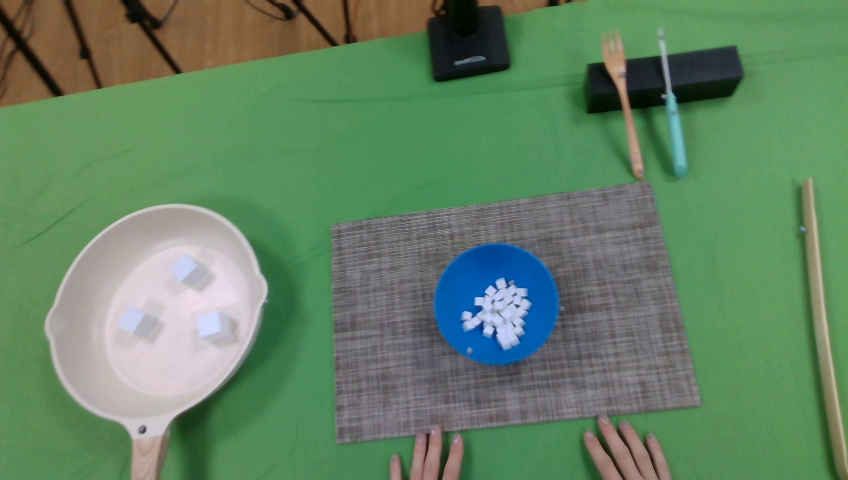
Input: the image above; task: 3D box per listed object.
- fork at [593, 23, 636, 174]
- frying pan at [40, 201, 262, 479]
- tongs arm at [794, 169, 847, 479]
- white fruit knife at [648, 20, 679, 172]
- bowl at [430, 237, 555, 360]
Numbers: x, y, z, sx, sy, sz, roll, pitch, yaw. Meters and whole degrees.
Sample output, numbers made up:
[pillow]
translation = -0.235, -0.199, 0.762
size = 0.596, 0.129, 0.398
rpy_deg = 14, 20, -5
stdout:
[fork]
translation = 0.263, -0.192, 0.827
size = 0.028, 0.018, 0.207
rpy_deg = -14, 90, -1
[frying pan]
translation = -0.347, 0.183, 0.773
size = 0.306, 0.103, 0.483
rpy_deg = -9, 62, 6
[tongs arm]
translation = 0.480, 0.094, 0.731
size = 0.028, 0.028, 0.385
rpy_deg = 1, 72, 6
[white fruit knife]
translation = 0.321, -0.196, 0.820
size = 0.016, 0.027, 0.207
rpy_deg = -9, 87, 11
[bowl]
translation = 0.086, 0.080, 0.759
size = 0.151, 0.077, 0.150
rpy_deg = -2, 71, 7
